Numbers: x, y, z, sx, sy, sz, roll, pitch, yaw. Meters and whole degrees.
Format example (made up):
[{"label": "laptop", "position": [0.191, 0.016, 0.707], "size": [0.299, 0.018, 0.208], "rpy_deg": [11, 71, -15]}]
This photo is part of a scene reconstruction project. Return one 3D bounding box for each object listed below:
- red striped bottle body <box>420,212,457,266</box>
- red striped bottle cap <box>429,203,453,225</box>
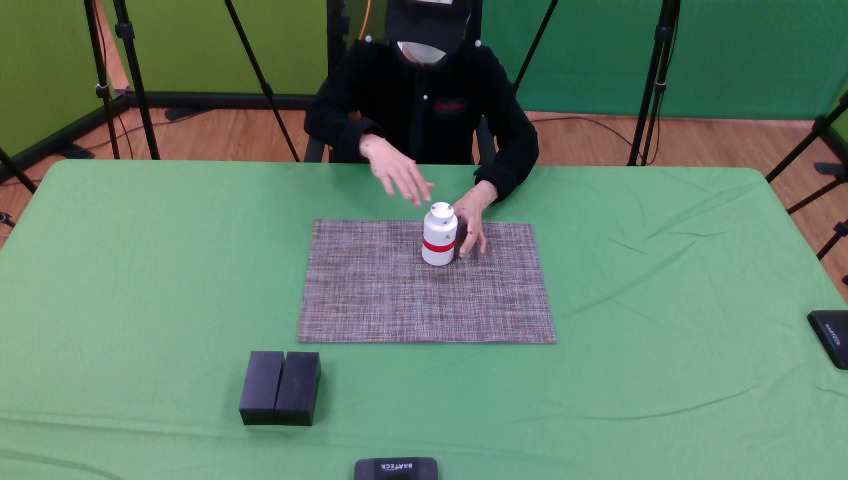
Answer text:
[{"label": "red striped bottle body", "position": [0.027, -0.011, 1.138], "size": [0.063, 0.120, 0.062], "rpy_deg": [3, 45, -2]}, {"label": "red striped bottle cap", "position": [0.031, -0.048, 1.101], "size": [0.044, 0.018, 0.044], "rpy_deg": [2, 43, -1]}]
